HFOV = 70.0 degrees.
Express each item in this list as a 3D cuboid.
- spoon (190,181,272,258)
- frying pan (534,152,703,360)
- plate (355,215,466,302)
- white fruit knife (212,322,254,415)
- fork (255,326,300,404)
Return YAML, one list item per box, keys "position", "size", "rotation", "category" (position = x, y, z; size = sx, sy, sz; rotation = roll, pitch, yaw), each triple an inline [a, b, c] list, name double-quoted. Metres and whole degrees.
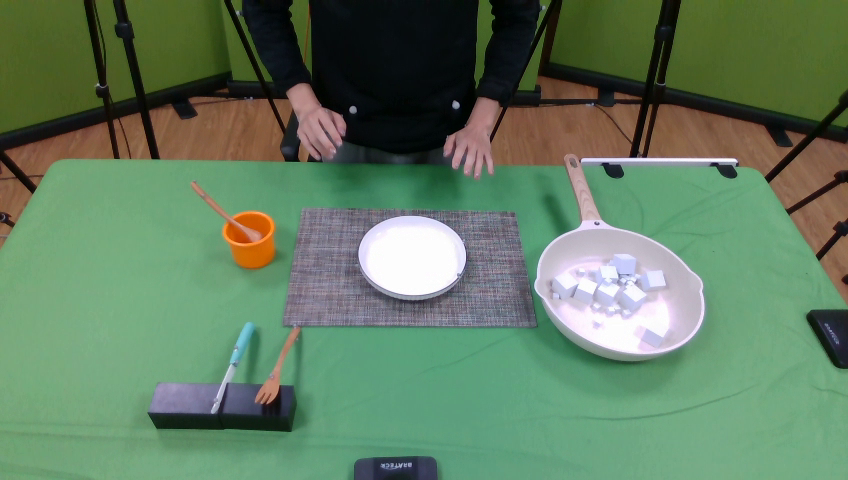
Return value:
- position: [-0.353, -0.037, 1.111]
  size: [0.194, 0.021, 0.041]
  rotation: [42, 38, -20]
  category: "spoon"
- position: [0.335, 0.013, 1.154]
  size: [0.307, 0.103, 0.484]
  rotation: [-1, 55, -7]
  category: "frying pan"
- position: [-0.025, 0.038, 1.143]
  size: [0.208, 0.039, 0.206]
  rotation: [3, 46, -2]
  category: "plate"
- position: [-0.298, 0.193, 0.947]
  size: [0.016, 0.027, 0.206]
  rotation: [2, 31, -1]
  category: "white fruit knife"
- position: [-0.226, 0.192, 0.955]
  size: [0.028, 0.019, 0.206]
  rotation: [-1, 27, 4]
  category: "fork"
